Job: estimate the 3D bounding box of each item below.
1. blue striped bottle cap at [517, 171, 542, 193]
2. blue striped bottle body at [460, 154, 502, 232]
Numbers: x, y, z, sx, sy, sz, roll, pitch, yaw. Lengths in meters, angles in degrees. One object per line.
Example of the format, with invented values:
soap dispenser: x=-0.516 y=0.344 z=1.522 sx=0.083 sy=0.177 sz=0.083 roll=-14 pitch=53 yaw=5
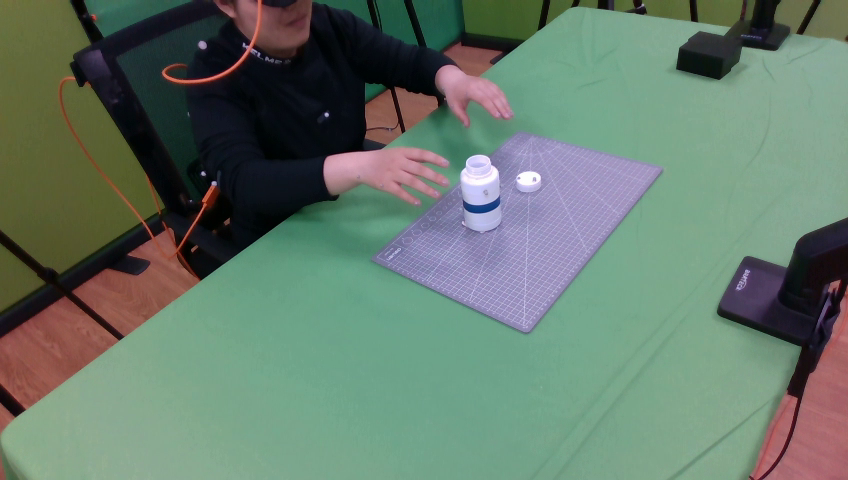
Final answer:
blue striped bottle cap: x=0.187 y=-0.103 z=1.072 sx=0.044 sy=0.021 sz=0.044 roll=-5 pitch=41 yaw=5
blue striped bottle body: x=0.092 y=-0.078 z=0.976 sx=0.063 sy=0.121 sz=0.063 roll=-6 pitch=40 yaw=5
